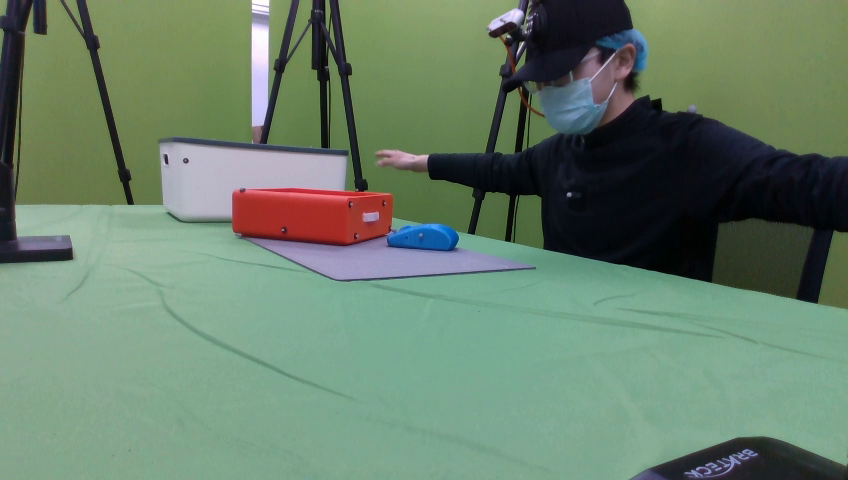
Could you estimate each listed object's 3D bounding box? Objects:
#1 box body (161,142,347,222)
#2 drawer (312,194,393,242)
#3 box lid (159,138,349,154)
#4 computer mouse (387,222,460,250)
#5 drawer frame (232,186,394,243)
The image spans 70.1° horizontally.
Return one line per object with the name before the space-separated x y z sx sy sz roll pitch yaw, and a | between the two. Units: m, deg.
box body | -0.380 -0.132 1.352 0.366 0.160 0.253 -2 8 -30
drawer | -0.184 -0.048 1.060 0.211 0.073 0.195 4 8 18
box lid | -0.376 -0.206 1.344 0.373 0.015 0.262 -1 8 -30
computer mouse | 0.000 -0.008 0.978 0.117 0.041 0.063 0 8 14
drawer frame | -0.186 -0.049 1.060 0.213 0.082 0.202 4 8 17
